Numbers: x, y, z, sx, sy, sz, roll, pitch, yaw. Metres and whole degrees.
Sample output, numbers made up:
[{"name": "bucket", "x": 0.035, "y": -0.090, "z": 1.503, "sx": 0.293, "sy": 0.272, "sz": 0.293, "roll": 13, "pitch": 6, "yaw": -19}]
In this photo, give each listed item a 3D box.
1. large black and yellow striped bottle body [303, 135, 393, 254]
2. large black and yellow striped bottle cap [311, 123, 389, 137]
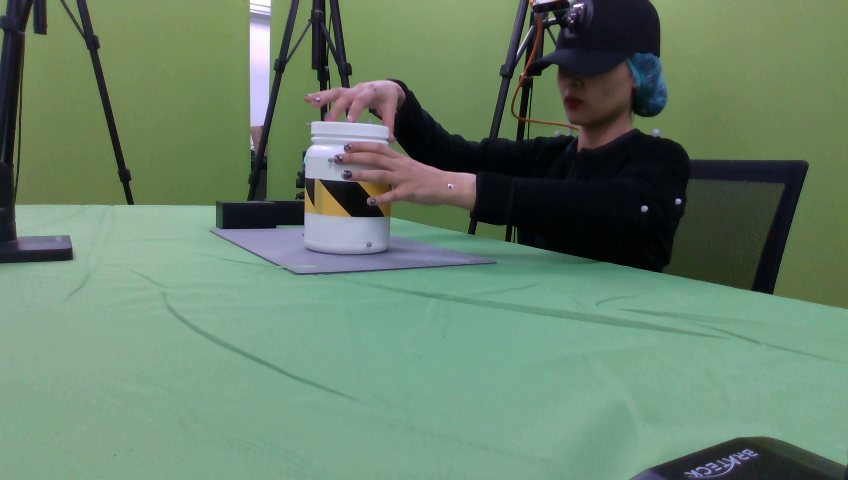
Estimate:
[{"name": "large black and yellow striped bottle body", "x": -0.114, "y": -0.077, "z": 0.912, "sx": 0.131, "sy": 0.184, "sz": 0.130, "roll": 3, "pitch": 8, "yaw": 0}, {"name": "large black and yellow striped bottle cap", "x": -0.109, "y": -0.163, "z": 0.899, "sx": 0.115, "sy": 0.019, "sz": 0.115, "roll": 1, "pitch": 8, "yaw": 0}]
